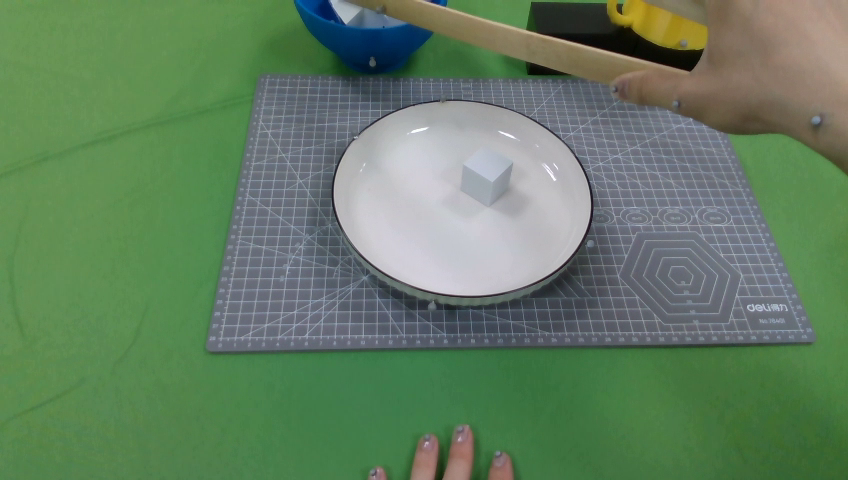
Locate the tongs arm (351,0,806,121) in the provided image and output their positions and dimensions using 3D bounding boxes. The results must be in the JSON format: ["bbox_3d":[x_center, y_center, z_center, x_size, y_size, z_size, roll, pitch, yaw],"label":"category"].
[{"bbox_3d":[0.062,-0.152,0.438,0.384,0.028,0.028,28,65,31],"label":"tongs arm"}]

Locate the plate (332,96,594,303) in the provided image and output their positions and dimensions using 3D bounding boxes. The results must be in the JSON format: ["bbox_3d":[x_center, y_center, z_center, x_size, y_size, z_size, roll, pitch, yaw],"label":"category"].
[{"bbox_3d":[0.031,-0.034,0.495,0.208,0.039,0.205,1,54,-2],"label":"plate"}]

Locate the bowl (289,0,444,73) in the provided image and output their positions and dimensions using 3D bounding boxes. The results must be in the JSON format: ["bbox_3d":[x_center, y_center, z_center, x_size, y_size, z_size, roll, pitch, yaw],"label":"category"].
[{"bbox_3d":[-0.055,-0.221,0.602,0.151,0.077,0.150,2,54,-2],"label":"bowl"}]

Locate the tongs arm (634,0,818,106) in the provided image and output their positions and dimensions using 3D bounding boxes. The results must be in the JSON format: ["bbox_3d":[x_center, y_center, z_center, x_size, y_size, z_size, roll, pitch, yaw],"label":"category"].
[{"bbox_3d":[0.104,-0.195,0.453,0.050,0.027,0.381,-44,56,-15],"label":"tongs arm"}]

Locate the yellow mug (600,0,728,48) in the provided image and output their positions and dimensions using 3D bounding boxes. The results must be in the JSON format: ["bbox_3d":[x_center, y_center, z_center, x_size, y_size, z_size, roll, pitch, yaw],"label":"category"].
[{"bbox_3d":[0.228,-0.237,0.574,0.131,0.064,0.099,-14,56,-11],"label":"yellow mug"}]
